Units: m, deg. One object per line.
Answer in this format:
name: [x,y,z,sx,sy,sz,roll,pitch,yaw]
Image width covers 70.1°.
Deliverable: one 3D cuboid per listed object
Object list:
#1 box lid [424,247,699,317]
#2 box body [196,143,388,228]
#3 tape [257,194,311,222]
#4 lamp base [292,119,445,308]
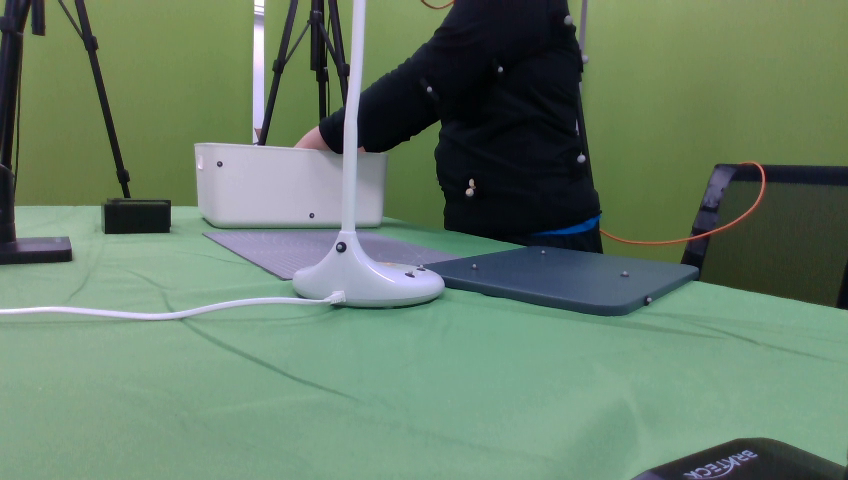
box lid: [0.184,0.044,0.789,0.262,0.015,0.373,8,9,35]
box body: [-0.286,-0.118,1.291,0.366,0.160,0.253,-1,8,-27]
tape: [-0.299,-0.070,1.298,0.117,0.052,0.117,2,7,0]
lamp base: [-0.056,-0.030,0.616,0.160,0.180,0.179,4,10,8]
